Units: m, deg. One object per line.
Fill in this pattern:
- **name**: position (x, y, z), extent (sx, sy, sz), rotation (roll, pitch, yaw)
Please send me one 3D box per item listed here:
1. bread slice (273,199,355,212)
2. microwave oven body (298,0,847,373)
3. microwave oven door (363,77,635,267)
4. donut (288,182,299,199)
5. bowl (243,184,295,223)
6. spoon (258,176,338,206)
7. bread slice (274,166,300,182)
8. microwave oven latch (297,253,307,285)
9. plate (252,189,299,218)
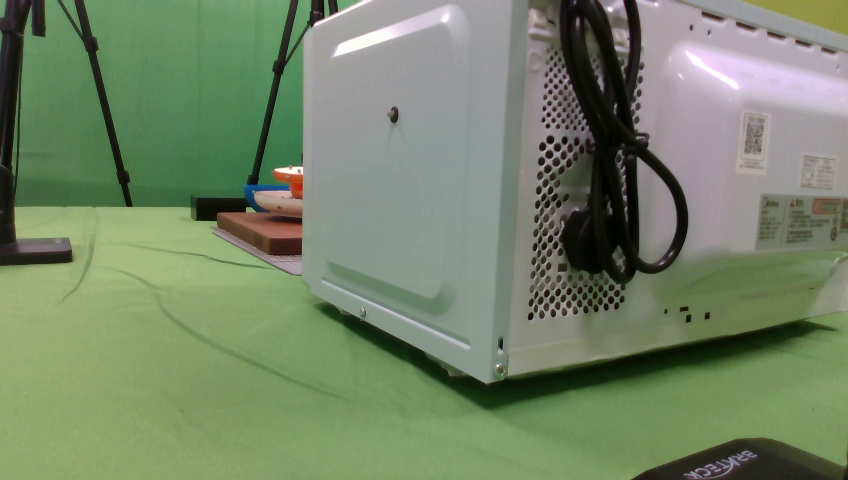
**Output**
- **bread slice**: position (-0.208, -0.064, 1.117), extent (0.104, 0.019, 0.132), rotation (9, 8, 43)
- **microwave oven body**: position (0.151, -0.055, 0.542), extent (0.444, 0.260, 0.324), rotation (-1, 7, -33)
- **microwave oven door**: position (0.091, -0.098, 0.823), extent (0.355, 0.243, 0.039), rotation (4, 8, 15)
- **donut**: position (-0.203, -0.095, 1.125), extent (0.099, 0.048, 0.099), rotation (4, -2, 0)
- **bowl**: position (-0.322, -0.081, 1.334), extent (0.151, 0.077, 0.151), rotation (3, 7, 0)
- **spoon**: position (-0.279, -0.112, 1.356), extent (0.194, 0.021, 0.041), rotation (-27, 18, -27)
- **bread slice**: position (-0.206, -0.124, 1.114), extent (0.106, 0.018, 0.135), rotation (11, 17, 40)
- **microwave oven latch**: position (-0.082, 0.027, 0.582), extent (0.079, 0.029, 0.030), rotation (-1, 7, -32)
- **plate**: position (-0.211, -0.066, 1.124), extent (0.208, 0.039, 0.207), rotation (4, 8, 0)
